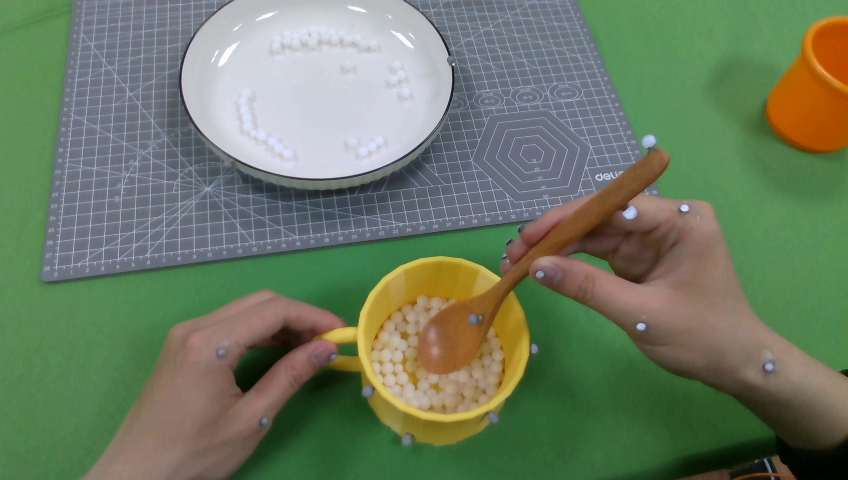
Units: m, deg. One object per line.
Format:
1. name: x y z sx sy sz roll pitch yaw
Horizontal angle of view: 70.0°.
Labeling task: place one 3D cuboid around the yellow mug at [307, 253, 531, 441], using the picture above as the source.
1. yellow mug: -0.005 0.066 0.370 0.131 0.064 0.099 0 62 -4

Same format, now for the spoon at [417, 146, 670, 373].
1. spoon: 0.052 0.018 0.319 0.022 0.194 0.041 8 51 -31

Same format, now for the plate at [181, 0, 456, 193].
1. plate: -0.079 -0.121 0.478 0.208 0.039 0.206 2 61 -3
